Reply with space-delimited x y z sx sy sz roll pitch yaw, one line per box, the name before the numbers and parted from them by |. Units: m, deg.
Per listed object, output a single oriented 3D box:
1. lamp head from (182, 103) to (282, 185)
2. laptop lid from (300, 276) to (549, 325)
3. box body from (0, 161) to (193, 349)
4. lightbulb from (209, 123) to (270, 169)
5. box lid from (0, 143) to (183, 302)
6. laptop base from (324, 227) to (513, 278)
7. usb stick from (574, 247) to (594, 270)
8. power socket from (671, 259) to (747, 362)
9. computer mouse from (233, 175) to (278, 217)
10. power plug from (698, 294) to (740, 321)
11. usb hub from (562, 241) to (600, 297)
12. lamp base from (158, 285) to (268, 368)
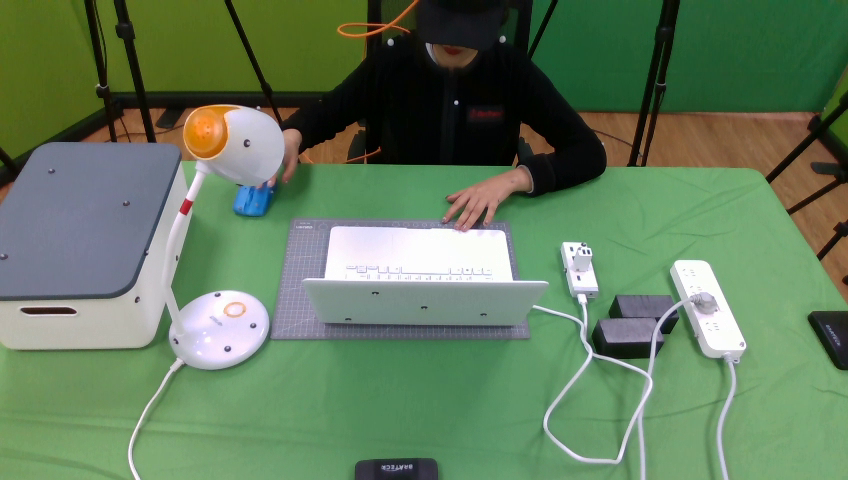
lamp head | -0.271 -0.133 0.825 0.112 0.112 0.123 20 8 15
laptop lid | -0.002 0.100 0.947 0.357 0.242 0.013 1 67 -4
box body | -0.570 0.006 1.054 0.254 0.161 0.361 -1 46 -4
lightbulb | -0.260 -0.136 0.848 0.059 0.108 0.059 -4 78 21
box lid | -0.567 -0.045 0.999 0.263 0.015 0.369 -1 46 -4
laptop base | -0.009 0.063 1.137 0.354 0.023 0.234 1 42 -3
usb stick | 0.298 0.040 1.135 0.027 0.059 0.021 2 46 -4
power socket | 0.516 0.119 1.108 0.072 0.033 0.225 0 46 -2
computer mouse | -0.350 -0.097 1.258 0.063 0.041 0.116 10 49 3
power plug | 0.515 0.127 1.070 0.035 0.053 0.072 -18 56 -7
usb hub | 0.300 0.055 1.162 0.049 0.025 0.124 2 46 -3
lamp base | -0.348 0.102 0.963 0.160 0.181 0.178 23 51 18
